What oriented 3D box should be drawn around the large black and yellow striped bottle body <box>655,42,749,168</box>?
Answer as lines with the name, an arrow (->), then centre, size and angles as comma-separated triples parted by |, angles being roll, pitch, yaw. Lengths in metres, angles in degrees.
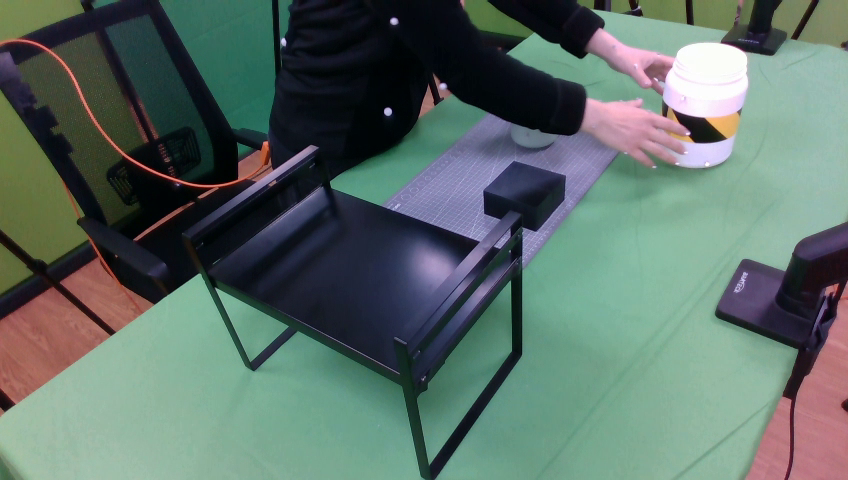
large black and yellow striped bottle body -> 0.482, -0.233, 1.049 | 0.131, 0.185, 0.130 | -4, 41, 4

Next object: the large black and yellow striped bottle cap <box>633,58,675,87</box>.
large black and yellow striped bottle cap -> 0.522, -0.370, 1.331 | 0.115, 0.019, 0.114 | -3, 41, 3

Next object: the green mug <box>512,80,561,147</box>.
green mug -> 0.218, -0.252, 1.168 | 0.092, 0.105, 0.125 | 2, 42, 12
